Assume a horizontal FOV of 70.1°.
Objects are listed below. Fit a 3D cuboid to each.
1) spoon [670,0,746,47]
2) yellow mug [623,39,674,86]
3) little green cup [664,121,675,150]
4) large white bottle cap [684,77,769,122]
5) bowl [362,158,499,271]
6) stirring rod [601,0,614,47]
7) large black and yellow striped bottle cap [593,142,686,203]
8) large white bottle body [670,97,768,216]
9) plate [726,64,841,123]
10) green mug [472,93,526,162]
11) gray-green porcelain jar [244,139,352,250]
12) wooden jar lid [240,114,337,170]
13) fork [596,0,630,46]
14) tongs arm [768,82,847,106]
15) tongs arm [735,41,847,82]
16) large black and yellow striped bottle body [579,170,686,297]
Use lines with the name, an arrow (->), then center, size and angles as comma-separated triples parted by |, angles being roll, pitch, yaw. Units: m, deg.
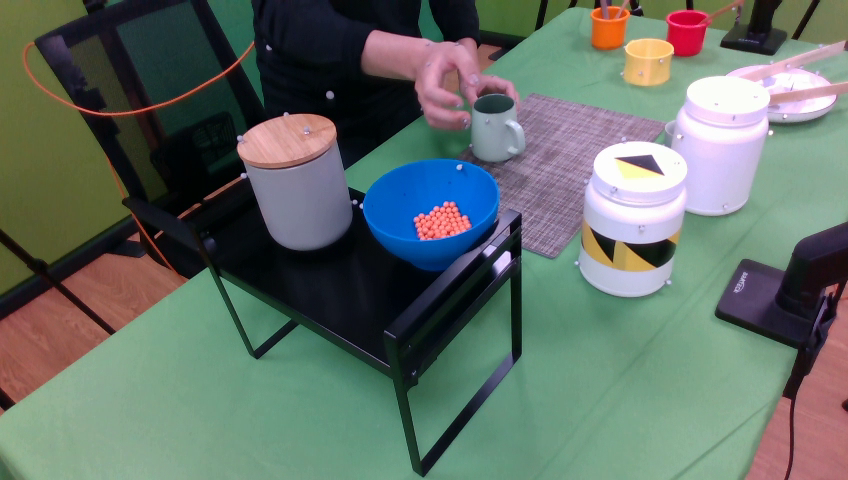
spoon -> 0.629, -0.485, 1.350 | 0.022, 0.193, 0.042 | 48, 54, -7
yellow mug -> 0.485, -0.398, 1.334 | 0.100, 0.064, 0.130 | -18, 40, -10
little green cup -> 0.472, -0.188, 1.113 | 0.061, 0.039, 0.061 | -5, 40, 4
large white bottle cap -> 0.448, -0.210, 0.898 | 0.115, 0.018, 0.114 | -4, 40, 4
bowl -> 0.011, -0.019, 0.679 | 0.151, 0.077, 0.150 | -5, 41, 5
stirring rod -> 0.439, -0.552, 1.463 | 0.014, 0.006, 0.175 | -7, 83, 3
large black and yellow striped bottle cap -> 0.280, -0.090, 0.786 | 0.115, 0.019, 0.114 | -5, 41, 5
large white bottle body -> 0.458, -0.146, 0.952 | 0.130, 0.185, 0.130 | -4, 40, 4
plate -> 0.695, -0.282, 1.189 | 0.207, 0.039, 0.206 | -4, 40, 4
green mug -> 0.144, -0.202, 1.122 | 0.093, 0.105, 0.124 | -29, 45, -23
gray-green porcelain jar -> -0.144, -0.060, 0.714 | 0.106, 0.127, 0.105 | -4, 41, 4
wooden jar lid -> -0.149, -0.106, 0.673 | 0.108, 0.021, 0.108 | -6, 39, 5
fork -> 0.481, -0.556, 1.453 | 0.028, 0.019, 0.207 | 40, 103, 38
tongs arm -> 0.738, -0.282, 1.134 | 0.388, 0.028, 0.028 | -9, 46, -5
tongs arm -> 0.712, -0.332, 1.194 | 0.386, 0.026, 0.050 | -18, 44, -16
large black and yellow striped bottle body -> 0.287, -0.027, 0.841 | 0.131, 0.185, 0.130 | -4, 41, 4
